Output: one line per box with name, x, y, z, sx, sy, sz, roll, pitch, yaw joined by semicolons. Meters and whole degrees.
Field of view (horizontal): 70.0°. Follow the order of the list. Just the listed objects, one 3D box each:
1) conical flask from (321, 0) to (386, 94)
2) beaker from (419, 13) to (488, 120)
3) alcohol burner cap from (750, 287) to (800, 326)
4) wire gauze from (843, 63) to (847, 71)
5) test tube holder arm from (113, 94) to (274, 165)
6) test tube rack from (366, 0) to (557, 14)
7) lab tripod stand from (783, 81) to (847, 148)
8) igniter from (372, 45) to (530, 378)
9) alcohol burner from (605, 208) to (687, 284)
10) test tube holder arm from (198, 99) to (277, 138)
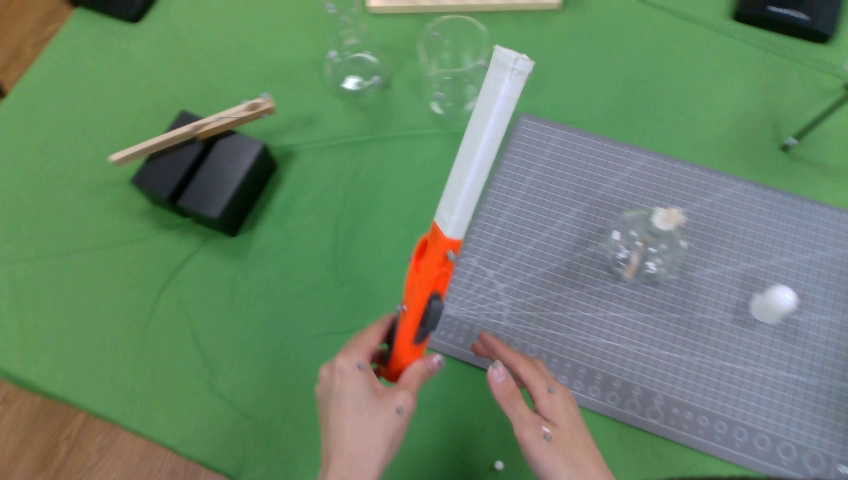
conical flask;-0.087;-0.231;0.694;0.075;0.123;0.075;-1;67;3
beaker;0.031;-0.188;0.684;0.073;0.101;0.084;35;74;16
alcohol burner cap;0.347;0.062;0.593;0.034;0.048;0.033;-1;68;2
wire gauze;0.476;-0.166;0.560;0.121;0.011;0.125;41;76;15
test tube holder arm;-0.249;-0.121;0.662;0.178;0.015;0.013;-22;68;-7
test tube rack;0.046;-0.339;0.751;0.242;0.086;0.066;0;68;3
lab tripod stand;0.473;-0.142;0.623;0.148;0.132;0.147;0;67;1
igniter;0.010;-0.002;0.444;0.025;0.278;0.056;6;30;-28
alcohol burner;0.219;-0.001;0.587;0.078;0.120;0.077;0;67;1
test tube holder arm;-0.206;-0.133;0.665;0.088;0.015;0.010;-21;68;-6
